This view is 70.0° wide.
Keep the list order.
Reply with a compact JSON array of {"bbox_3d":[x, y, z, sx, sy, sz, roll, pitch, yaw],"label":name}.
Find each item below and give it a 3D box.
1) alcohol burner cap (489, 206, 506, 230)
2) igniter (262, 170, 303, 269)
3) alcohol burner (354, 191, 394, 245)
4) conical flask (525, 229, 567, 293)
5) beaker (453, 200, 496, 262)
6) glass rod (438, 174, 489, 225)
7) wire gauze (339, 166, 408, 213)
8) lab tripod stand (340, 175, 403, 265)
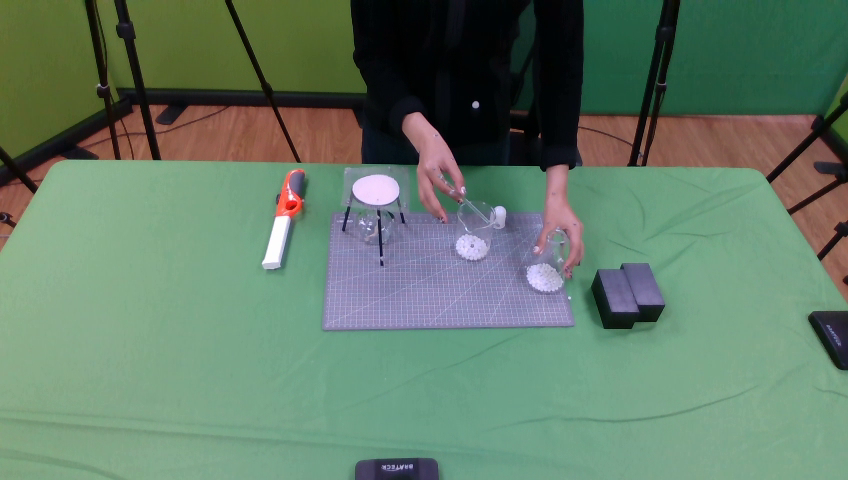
[{"bbox_3d":[0.152,-0.047,1.240,0.034,0.048,0.033,3,46,-3],"label":"alcohol burner cap"},{"bbox_3d":[-0.283,-0.050,1.222,0.057,0.025,0.275,-5,45,6],"label":"igniter"},{"bbox_3d":[-0.096,-0.048,1.171,0.078,0.119,0.077,4,45,-4],"label":"alcohol burner"},{"bbox_3d":[0.232,0.036,1.110,0.075,0.122,0.075,2,46,-2],"label":"conical flask"},{"bbox_3d":[0.094,-0.012,1.162,0.074,0.101,0.083,16,47,12],"label":"beaker"},{"bbox_3d":[0.073,-0.069,1.086,0.008,0.201,0.008,-13,61,26],"label":"glass rod"},{"bbox_3d":[-0.091,-0.096,1.110,0.125,0.011,0.120,2,45,-3],"label":"wire gauze"},{"bbox_3d":[-0.094,-0.050,1.160,0.148,0.132,0.147,2,44,-2],"label":"lab tripod stand"}]
